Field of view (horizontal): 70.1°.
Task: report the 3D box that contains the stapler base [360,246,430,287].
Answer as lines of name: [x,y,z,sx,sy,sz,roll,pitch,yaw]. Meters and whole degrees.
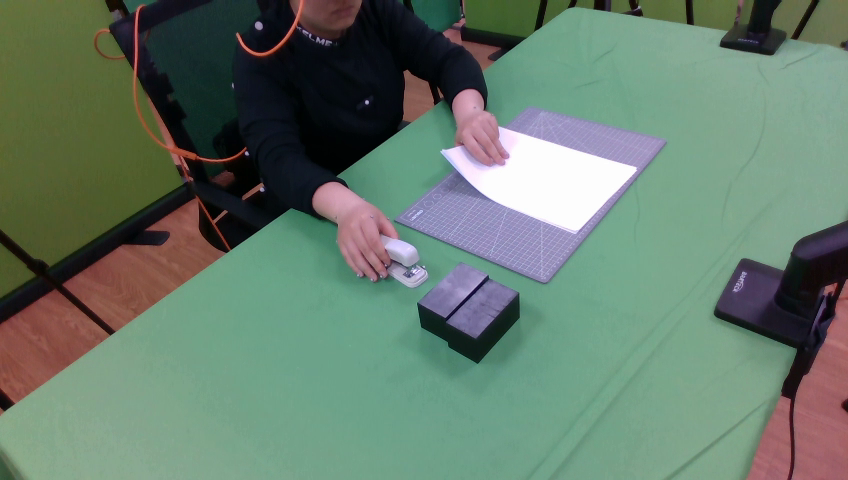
stapler base: [-0.047,0.030,0.950,0.041,0.024,0.129,-35,45,-31]

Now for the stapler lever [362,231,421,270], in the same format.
stapler lever: [-0.052,0.010,0.934,0.027,0.040,0.117,-35,45,-31]
